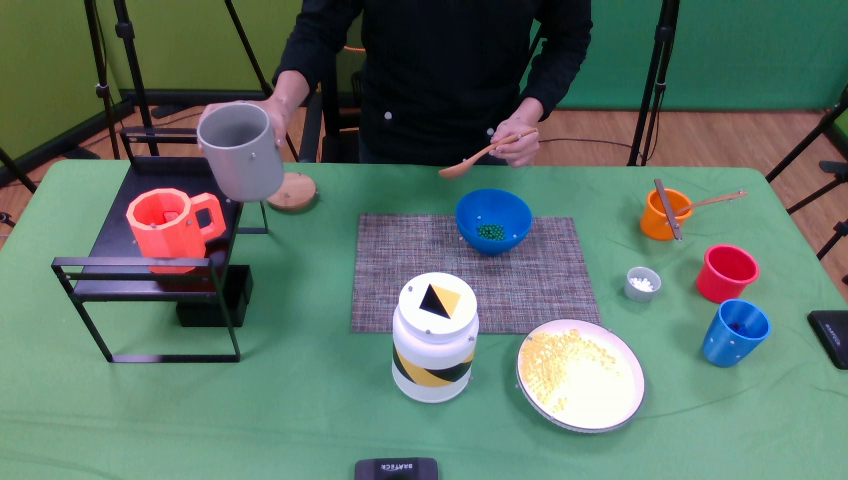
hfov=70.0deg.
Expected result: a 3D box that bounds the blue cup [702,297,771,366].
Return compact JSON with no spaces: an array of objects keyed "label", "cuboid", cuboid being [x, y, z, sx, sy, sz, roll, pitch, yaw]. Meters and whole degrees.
[{"label":"blue cup","cuboid":[0.519,0.162,1.025,0.093,0.101,0.092,3,45,-3]}]

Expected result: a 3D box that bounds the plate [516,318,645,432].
[{"label":"plate","cuboid":[0.253,0.221,0.992,0.209,0.038,0.208,2,46,-2]}]

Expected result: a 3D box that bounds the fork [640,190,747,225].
[{"label":"fork","cuboid":[0.533,-0.065,1.211,0.207,0.019,0.028,-22,28,39]}]

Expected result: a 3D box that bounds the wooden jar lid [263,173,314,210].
[{"label":"wooden jar lid","cuboid":[-0.286,-0.101,1.273,0.108,0.021,0.107,3,45,-3]}]

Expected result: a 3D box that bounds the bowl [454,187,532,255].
[{"label":"bowl","cuboid":[0.131,-0.025,1.187,0.151,0.077,0.150,2,46,-2]}]

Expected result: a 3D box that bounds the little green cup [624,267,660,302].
[{"label":"little green cup","cuboid":[0.406,0.084,1.135,0.061,0.039,0.061,3,45,-3]}]

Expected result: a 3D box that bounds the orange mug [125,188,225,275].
[{"label":"orange mug","cuboid":[-0.357,-0.020,0.884,0.126,0.101,0.083,-29,55,-23]}]

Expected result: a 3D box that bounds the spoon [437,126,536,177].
[{"label":"spoon","cuboid":[0.106,-0.154,1.053,0.194,0.042,0.021,-28,66,25]}]

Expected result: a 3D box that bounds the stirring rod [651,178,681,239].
[{"label":"stirring rod","cuboid":[0.480,-0.065,1.204,0.014,0.006,0.175,3,46,-3]}]

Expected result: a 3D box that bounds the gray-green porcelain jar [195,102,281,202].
[{"label":"gray-green porcelain jar","cuboid":[-0.281,-0.131,0.936,0.106,0.127,0.105,-1,51,1]}]

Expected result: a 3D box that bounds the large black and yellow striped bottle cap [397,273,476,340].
[{"label":"large black and yellow striped bottle cap","cuboid":[0.018,0.094,0.878,0.115,0.019,0.114,3,46,-3]}]

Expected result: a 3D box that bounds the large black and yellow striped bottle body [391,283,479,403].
[{"label":"large black and yellow striped bottle body","cuboid":[0.015,0.153,0.938,0.131,0.185,0.130,2,46,-2]}]
